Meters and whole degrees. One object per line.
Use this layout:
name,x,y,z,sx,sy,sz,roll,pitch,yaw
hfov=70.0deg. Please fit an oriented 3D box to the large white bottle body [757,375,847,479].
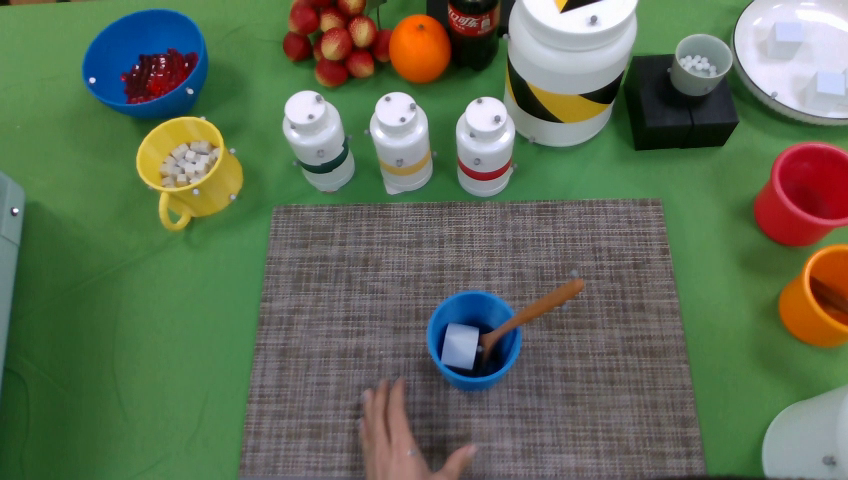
large white bottle body,0.372,0.172,0.488,0.130,0.186,0.129,-2,65,4

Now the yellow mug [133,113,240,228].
yellow mug,-0.279,-0.075,0.703,0.100,0.064,0.130,9,67,6

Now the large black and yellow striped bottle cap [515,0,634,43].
large black and yellow striped bottle cap,0.148,-0.243,0.594,0.115,0.019,0.114,-2,65,4

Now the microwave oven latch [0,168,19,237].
microwave oven latch,-0.489,-0.042,0.697,0.030,0.030,0.078,-8,67,0

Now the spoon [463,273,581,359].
spoon,0.075,0.077,0.549,0.022,0.194,0.041,8,57,-26

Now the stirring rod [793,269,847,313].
stirring rod,0.399,0.066,0.559,0.014,0.006,0.175,-7,23,0

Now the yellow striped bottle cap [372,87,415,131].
yellow striped bottle cap,-0.032,-0.136,0.628,0.044,0.019,0.044,-1,68,3

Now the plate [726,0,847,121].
plate,0.473,-0.229,0.739,0.209,0.038,0.207,-1,67,3

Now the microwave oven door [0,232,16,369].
microwave oven door,-0.464,0.115,0.516,0.039,0.245,0.352,-10,66,0

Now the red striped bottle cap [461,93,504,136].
red striped bottle cap,0.060,-0.129,0.619,0.044,0.018,0.044,0,65,0

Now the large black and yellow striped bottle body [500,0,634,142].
large black and yellow striped bottle body,0.154,-0.210,0.671,0.131,0.185,0.130,-1,66,3

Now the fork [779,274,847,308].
fork,0.427,0.067,0.551,0.028,0.019,0.205,-35,24,-16

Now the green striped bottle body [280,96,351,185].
green striped bottle body,-0.122,-0.117,0.683,0.063,0.120,0.062,-1,66,3

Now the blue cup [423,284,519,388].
blue cup,0.043,0.101,0.582,0.092,0.101,0.092,0,64,1

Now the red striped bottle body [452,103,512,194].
red striped bottle body,0.065,-0.106,0.666,0.063,0.121,0.062,-3,64,7

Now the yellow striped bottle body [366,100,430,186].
yellow striped bottle body,-0.028,-0.115,0.675,0.063,0.121,0.062,-2,66,4

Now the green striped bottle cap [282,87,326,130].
green striped bottle cap,-0.126,-0.138,0.635,0.044,0.020,0.044,-1,65,3

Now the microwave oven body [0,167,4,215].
microwave oven body,-0.614,0.103,0.536,0.326,0.262,0.438,-10,67,-1

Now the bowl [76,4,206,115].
bowl,-0.338,-0.211,0.760,0.151,0.077,0.150,-1,67,3
